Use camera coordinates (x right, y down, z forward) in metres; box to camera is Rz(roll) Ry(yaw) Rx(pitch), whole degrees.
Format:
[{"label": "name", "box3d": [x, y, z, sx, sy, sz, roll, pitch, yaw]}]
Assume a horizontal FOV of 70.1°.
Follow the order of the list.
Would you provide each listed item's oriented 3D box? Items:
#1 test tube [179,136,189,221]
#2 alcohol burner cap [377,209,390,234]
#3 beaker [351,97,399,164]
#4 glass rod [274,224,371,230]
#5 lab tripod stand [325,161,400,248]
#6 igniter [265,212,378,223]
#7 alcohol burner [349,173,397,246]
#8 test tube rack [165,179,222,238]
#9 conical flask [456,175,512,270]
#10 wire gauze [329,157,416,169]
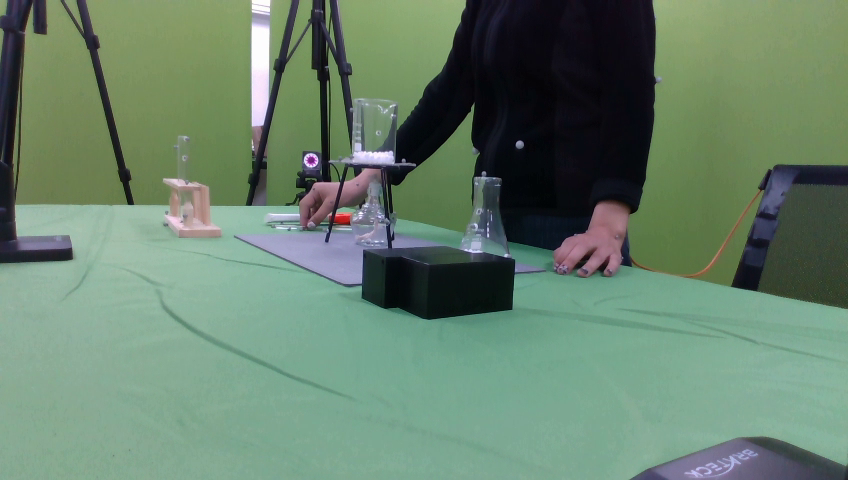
[{"label": "test tube", "box3d": [-0.425, -0.108, 1.070, 0.017, 0.150, 0.017, 4, 9, 0]}, {"label": "alcohol burner cap", "box3d": [-0.075, -0.035, 1.144, 0.034, 0.048, 0.034, -3, 5, 1]}, {"label": "beaker", "box3d": [-0.078, -0.172, 0.963, 0.074, 0.100, 0.084, 6, 8, 18]}, {"label": "glass rod", "box3d": [-0.193, -0.024, 1.177, 0.201, 0.008, 0.008, 1, 7, -31]}, {"label": "lab tripod stand", "box3d": [-0.083, -0.059, 0.977, 0.148, 0.131, 0.148, 4, 8, 0]}, {"label": "igniter", "box3d": [-0.195, -0.048, 1.285, 0.278, 0.025, 0.057, -2, -2, -31]}, {"label": "alcohol burner", "box3d": [-0.081, -0.050, 0.982, 0.078, 0.119, 0.078, 4, 8, 0]}, {"label": "test tube rack", "box3d": [-0.423, -0.062, 1.098, 0.067, 0.085, 0.241, -2, 9, -28]}, {"label": "conical flask", "box3d": [0.082, -0.025, 0.801, 0.075, 0.122, 0.075, 2, 7, 0]}, {"label": "wire gauze", "box3d": [-0.079, -0.125, 0.972, 0.121, 0.011, 0.125, 6, 6, 5]}]
